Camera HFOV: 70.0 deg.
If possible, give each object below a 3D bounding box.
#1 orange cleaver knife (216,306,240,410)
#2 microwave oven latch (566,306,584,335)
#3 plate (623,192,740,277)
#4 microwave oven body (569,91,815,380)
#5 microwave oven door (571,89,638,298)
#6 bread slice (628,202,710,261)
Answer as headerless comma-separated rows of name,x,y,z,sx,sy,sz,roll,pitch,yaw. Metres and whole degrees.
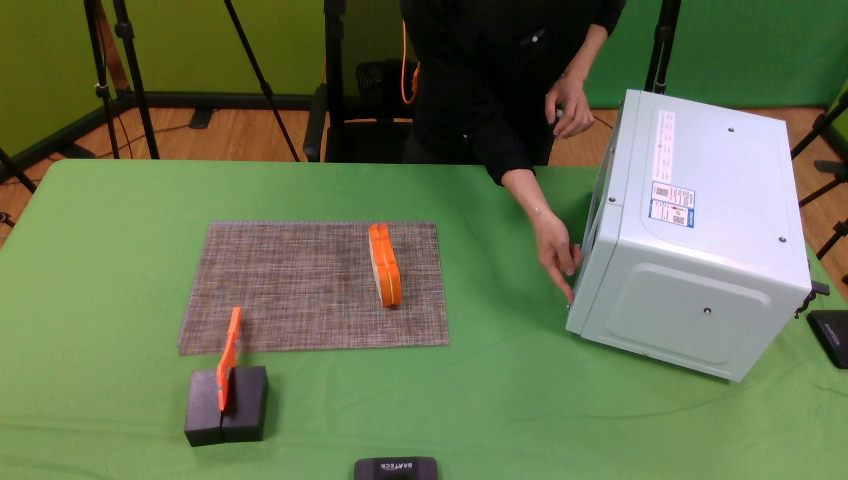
orange cleaver knife,-0.307,0.180,0.957,0.012,0.077,0.210,-2,25,-8
microwave oven latch,0.268,0.126,1.059,0.030,0.029,0.079,17,46,13
plate,0.479,-0.007,1.141,0.208,0.039,0.206,0,47,0
microwave oven body,0.468,-0.022,1.082,0.325,0.261,0.440,15,46,11
microwave oven door,0.343,-0.091,1.133,0.039,0.245,0.354,15,47,10
bread slice,0.474,-0.023,1.163,0.134,0.018,0.106,-27,53,-17
